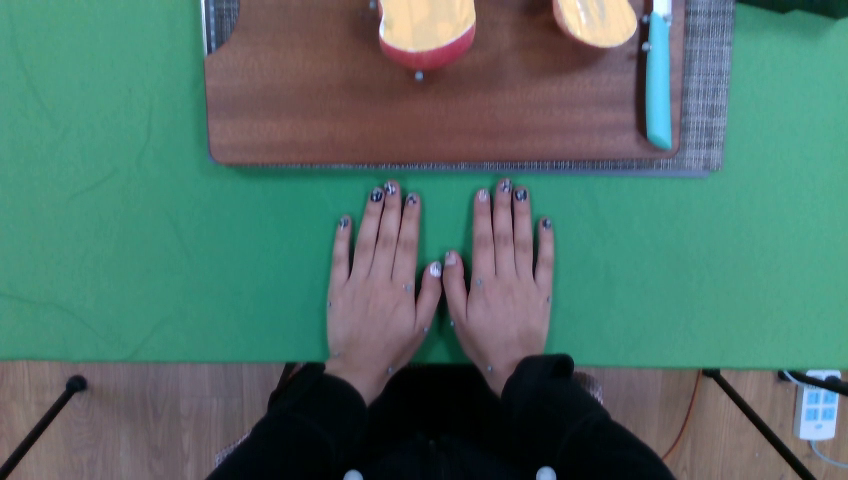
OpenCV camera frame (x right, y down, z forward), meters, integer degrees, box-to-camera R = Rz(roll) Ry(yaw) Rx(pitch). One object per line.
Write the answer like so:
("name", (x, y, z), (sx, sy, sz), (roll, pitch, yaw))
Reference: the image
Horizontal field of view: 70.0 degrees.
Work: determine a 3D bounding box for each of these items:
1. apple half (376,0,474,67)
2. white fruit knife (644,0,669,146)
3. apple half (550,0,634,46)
("apple half", (0.001, -0.171, 0.473), (0.074, 0.053, 0.080), (-10, 76, 2))
("white fruit knife", (0.194, -0.183, 0.504), (0.027, 0.016, 0.207), (-7, 98, -31))
("apple half", (0.126, -0.188, 0.485), (0.082, 0.032, 0.081), (3, 83, -24))
